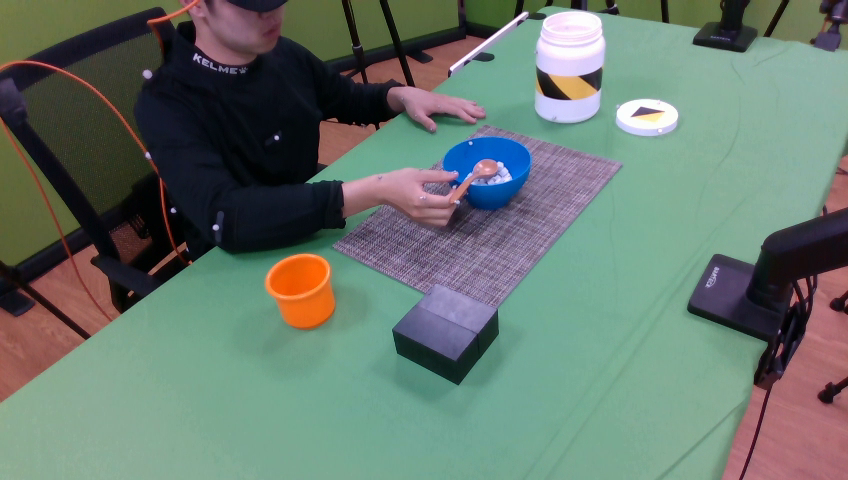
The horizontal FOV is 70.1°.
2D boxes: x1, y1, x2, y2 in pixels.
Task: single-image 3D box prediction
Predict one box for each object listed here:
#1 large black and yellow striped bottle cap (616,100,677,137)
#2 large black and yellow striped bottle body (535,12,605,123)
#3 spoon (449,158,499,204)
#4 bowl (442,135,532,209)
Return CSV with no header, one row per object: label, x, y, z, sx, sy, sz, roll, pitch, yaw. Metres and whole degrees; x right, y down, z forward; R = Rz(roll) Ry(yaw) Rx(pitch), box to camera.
large black and yellow striped bottle cap,0.438,-0.241,1.190,0.115,0.019,0.114,-4,42,4
large black and yellow striped bottle body,0.287,-0.341,1.197,0.131,0.185,0.130,-4,41,4
spoon,0.076,-0.096,0.967,0.041,0.021,0.194,15,27,20
bowl,0.108,-0.106,1.026,0.151,0.077,0.150,-4,41,4
